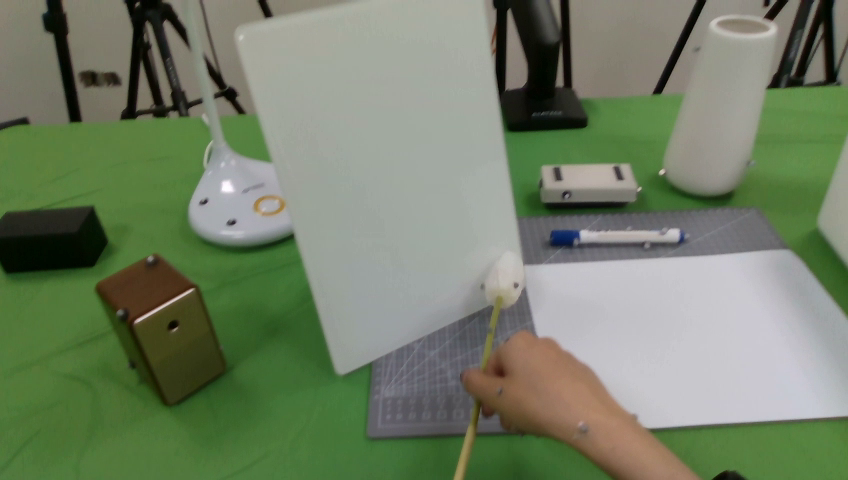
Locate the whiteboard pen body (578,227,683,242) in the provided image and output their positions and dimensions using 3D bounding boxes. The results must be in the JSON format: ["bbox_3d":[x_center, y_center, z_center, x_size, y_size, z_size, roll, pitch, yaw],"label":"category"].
[{"bbox_3d":[0.219,-0.006,0.681,0.141,0.017,0.017,-1,38,3],"label":"whiteboard pen body"}]

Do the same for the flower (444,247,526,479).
[{"bbox_3d":[0.040,0.108,0.459,0.038,0.044,0.359,10,31,11],"label":"flower"}]

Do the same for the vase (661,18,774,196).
[{"bbox_3d":[0.349,-0.152,0.717,0.098,0.202,0.097,-1,38,1],"label":"vase"}]

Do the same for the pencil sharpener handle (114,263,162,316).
[{"bbox_3d":[-0.265,0.043,0.558,0.030,0.068,0.036,29,56,34],"label":"pencil sharpener handle"}]

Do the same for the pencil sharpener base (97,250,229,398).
[{"bbox_3d":[-0.229,0.074,0.536,0.076,0.108,0.061,28,48,34],"label":"pencil sharpener base"}]

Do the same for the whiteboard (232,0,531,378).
[{"bbox_3d":[-0.044,-0.066,0.589,0.217,0.307,0.142,-22,23,-21],"label":"whiteboard"}]

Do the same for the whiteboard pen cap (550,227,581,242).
[{"bbox_3d":[0.160,-0.005,0.684,0.033,0.018,0.018,2,38,1],"label":"whiteboard pen cap"}]

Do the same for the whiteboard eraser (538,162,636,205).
[{"bbox_3d":[0.199,-0.068,0.746,0.112,0.042,0.055,-2,36,3],"label":"whiteboard eraser"}]

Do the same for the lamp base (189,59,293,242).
[{"bbox_3d":[-0.223,-0.113,0.716,0.177,0.182,0.160,25,46,34],"label":"lamp base"}]

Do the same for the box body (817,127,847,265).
[{"bbox_3d":[0.555,0.019,0.515,0.254,0.162,0.360,-2,38,2],"label":"box body"}]
